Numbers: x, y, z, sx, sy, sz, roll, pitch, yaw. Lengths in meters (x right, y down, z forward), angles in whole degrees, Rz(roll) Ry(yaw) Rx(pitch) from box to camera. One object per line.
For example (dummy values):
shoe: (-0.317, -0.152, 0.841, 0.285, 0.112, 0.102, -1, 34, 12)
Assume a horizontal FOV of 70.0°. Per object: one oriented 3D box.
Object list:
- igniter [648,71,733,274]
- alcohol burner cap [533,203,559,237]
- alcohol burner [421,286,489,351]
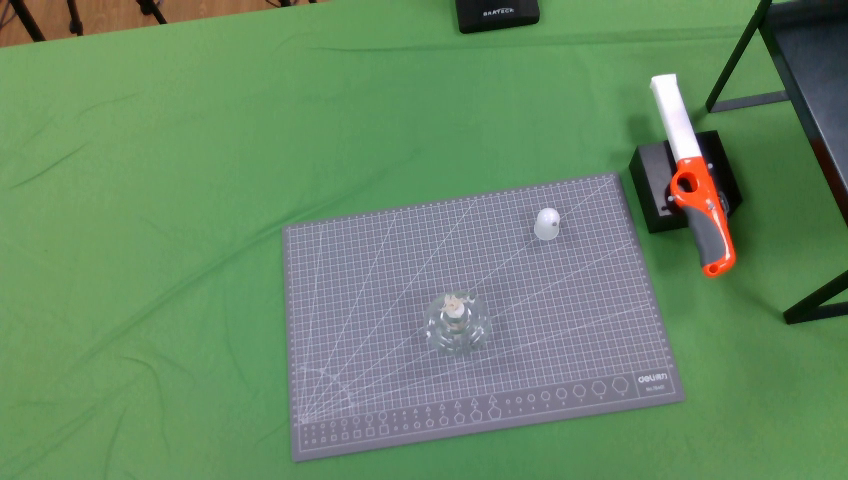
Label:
igniter: (0.317, -0.089, 0.726, 0.057, 0.025, 0.274, -6, 65, 3)
alcohol burner cap: (0.154, -0.028, 0.755, 0.034, 0.048, 0.033, -2, 68, 5)
alcohol burner: (0.034, 0.084, 0.680, 0.078, 0.120, 0.077, -2, 68, 6)
